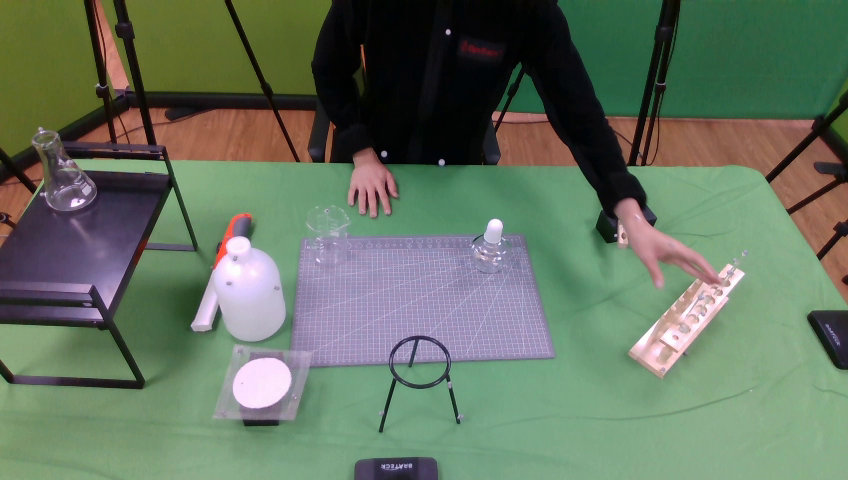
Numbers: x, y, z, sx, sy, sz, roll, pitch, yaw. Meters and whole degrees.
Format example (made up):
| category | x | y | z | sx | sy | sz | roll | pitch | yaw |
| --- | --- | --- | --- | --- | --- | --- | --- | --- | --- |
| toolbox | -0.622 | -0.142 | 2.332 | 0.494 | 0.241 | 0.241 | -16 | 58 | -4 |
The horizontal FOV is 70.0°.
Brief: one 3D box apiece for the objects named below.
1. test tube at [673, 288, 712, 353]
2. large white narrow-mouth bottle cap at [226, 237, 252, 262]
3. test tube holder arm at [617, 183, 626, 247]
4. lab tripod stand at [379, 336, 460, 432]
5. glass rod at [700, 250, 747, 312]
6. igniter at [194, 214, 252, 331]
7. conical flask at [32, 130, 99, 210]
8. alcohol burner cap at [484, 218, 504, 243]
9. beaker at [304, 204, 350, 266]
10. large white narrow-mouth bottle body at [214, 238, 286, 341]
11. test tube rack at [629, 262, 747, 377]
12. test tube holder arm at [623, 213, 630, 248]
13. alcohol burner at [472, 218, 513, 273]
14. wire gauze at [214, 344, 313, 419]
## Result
| category | x | y | z | sx | sy | sz | roll | pitch | yaw |
| --- | --- | --- | --- | --- | --- | --- | --- | --- | --- |
| test tube | 0.429 | 0.134 | 0.982 | 0.017 | 0.151 | 0.017 | 4 | 42 | -4 |
| large white narrow-mouth bottle cap | -0.282 | 0.015 | 0.923 | 0.038 | 0.024 | 0.037 | 2 | 46 | -2 |
| test tube holder arm | 0.395 | -0.053 | 1.211 | 0.013 | 0.015 | 0.177 | 15 | 46 | -1 |
| lab tripod stand | -0.010 | 0.214 | 0.911 | 0.148 | 0.132 | 0.147 | 1 | 45 | 0 |
| glass rod | 0.500 | 0.075 | 1.021 | 0.008 | 0.201 | 0.008 | 0 | 55 | 1 |
| igniter | -0.367 | 0.050 | 1.119 | 0.057 | 0.025 | 0.275 | -4 | 46 | 7 |
| conical flask | -0.565 | -0.111 | 0.944 | 0.075 | 0.122 | 0.075 | 2 | 46 | -2 |
| alcohol burner cap | 0.130 | -0.021 | 1.106 | 0.034 | 0.048 | 0.033 | 3 | 51 | -4 |
| beaker | -0.178 | -0.006 | 1.132 | 0.084 | 0.101 | 0.073 | 4 | 46 | -1 |
| large white narrow-mouth bottle body | -0.285 | 0.073 | 0.986 | 0.102 | 0.195 | 0.101 | 2 | 46 | -2 |
| test tube rack | 0.464 | 0.126 | 1.060 | 0.242 | 0.085 | 0.066 | -34 | 56 | -30 |
| test tube holder arm | 0.392 | -0.020 | 1.180 | 0.010 | 0.015 | 0.087 | 15 | 47 | -1 |
| alcohol burner | 0.128 | 0.005 | 1.132 | 0.078 | 0.120 | 0.077 | 0 | 47 | 0 |
| wire gauze | -0.241 | 0.213 | 0.915 | 0.121 | 0.011 | 0.124 | 5 | 46 | 1 |
